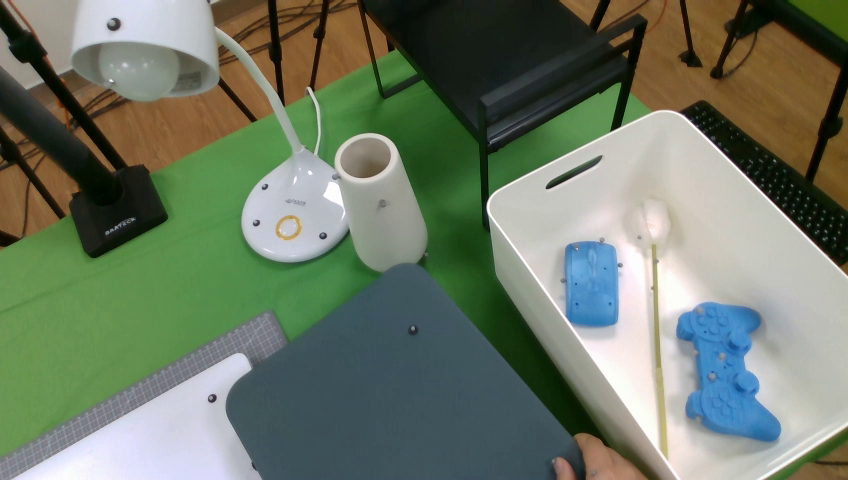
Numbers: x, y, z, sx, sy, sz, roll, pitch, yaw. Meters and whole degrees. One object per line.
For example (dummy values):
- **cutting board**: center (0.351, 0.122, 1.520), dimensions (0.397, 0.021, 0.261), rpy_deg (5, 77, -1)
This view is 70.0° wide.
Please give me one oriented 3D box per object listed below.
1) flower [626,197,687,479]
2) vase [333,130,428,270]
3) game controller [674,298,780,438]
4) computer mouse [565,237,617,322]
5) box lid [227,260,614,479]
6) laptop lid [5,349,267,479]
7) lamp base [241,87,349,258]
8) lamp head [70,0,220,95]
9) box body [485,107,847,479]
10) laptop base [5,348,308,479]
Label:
- **flower**: center (0.276, 0.107, 0.703), dimensions (0.044, 0.038, 0.358), rpy_deg (-15, 55, 28)
- **vase**: center (-0.053, -0.044, 0.733), dimensions (0.098, 0.202, 0.097), rpy_deg (-4, 59, 7)
- **game controller**: center (0.334, 0.134, 0.669), dimensions (0.097, 0.052, 0.154), rpy_deg (1, 60, 9)
- **computer mouse**: center (0.204, 0.045, 0.739), dimensions (0.062, 0.041, 0.116), rpy_deg (2, 56, 12)
- **box lid**: center (-0.010, 0.205, 0.591), dimensions (0.263, 0.015, 0.368), rpy_deg (-36, 62, -11)
- **laptop lid**: center (-0.311, 0.298, 0.657), dimensions (0.357, 0.013, 0.239), rpy_deg (-28, 63, -10)
- **lamp base**: center (-0.184, -0.094, 0.788), dimensions (0.160, 0.182, 0.177), rpy_deg (0, 58, 7)
- **lamp head**: center (-0.225, -0.193, 0.502), dimensions (0.112, 0.113, 0.122), rpy_deg (-3, 78, 5)
- **box body**: center (0.261, 0.067, 0.655), dimensions (0.254, 0.162, 0.360), rpy_deg (-27, 61, -9)
- **laptop base**: center (-0.311, 0.301, 0.667), dimensions (0.354, 0.023, 0.233), rpy_deg (-30, 66, -10)
